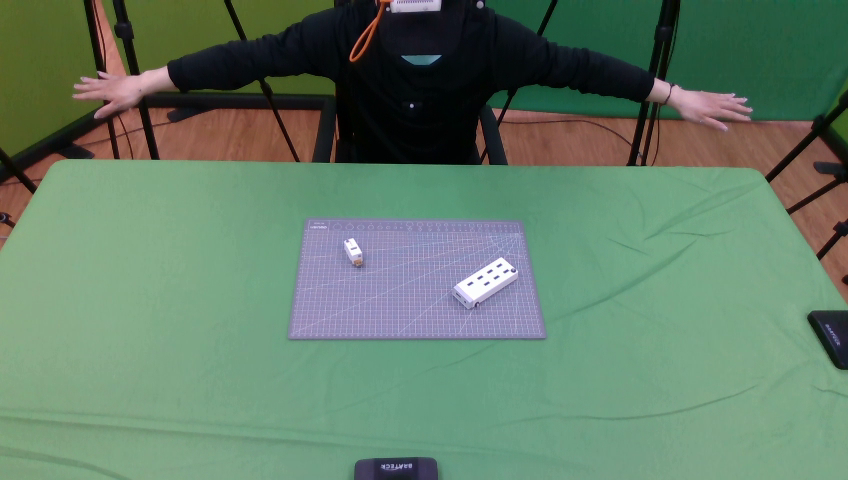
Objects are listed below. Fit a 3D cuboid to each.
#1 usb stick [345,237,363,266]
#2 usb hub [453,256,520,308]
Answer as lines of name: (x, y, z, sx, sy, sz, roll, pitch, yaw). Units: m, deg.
usb stick: (-0.131, 0.024, 1.155, 0.021, 0.027, 0.059, -16, 52, -20)
usb hub: (0.117, 0.077, 1.121, 0.125, 0.025, 0.049, -29, 55, -27)
